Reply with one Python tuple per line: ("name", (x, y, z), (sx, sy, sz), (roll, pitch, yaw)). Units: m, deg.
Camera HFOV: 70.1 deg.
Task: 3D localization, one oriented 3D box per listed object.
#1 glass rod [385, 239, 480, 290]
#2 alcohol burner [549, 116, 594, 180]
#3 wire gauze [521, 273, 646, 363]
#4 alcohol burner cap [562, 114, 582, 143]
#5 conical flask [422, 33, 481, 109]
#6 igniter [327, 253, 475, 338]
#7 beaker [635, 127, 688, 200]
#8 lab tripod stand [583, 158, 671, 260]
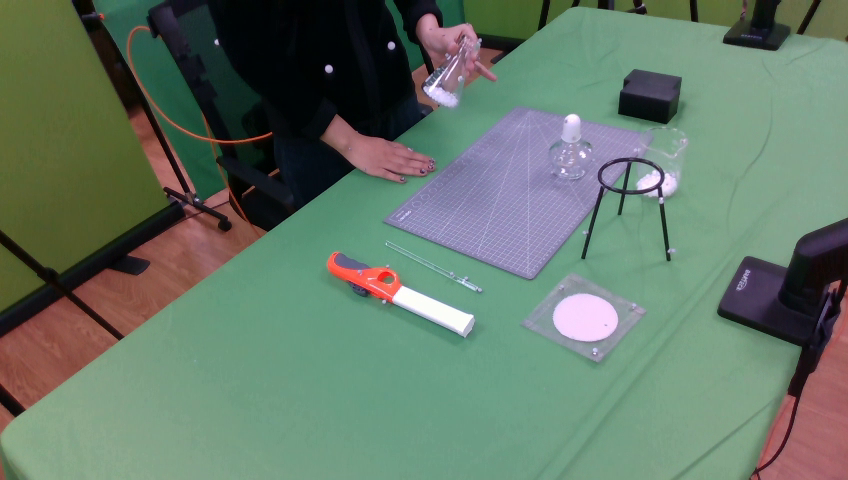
("glass rod", (0.009, 0.037, 0.950), (0.198, 0.008, 0.008), (26, 52, 35))
("alcohol burner", (0.258, -0.166, 1.055), (0.078, 0.120, 0.077), (-6, 42, 6))
("wire gauze", (0.219, 0.105, 0.830), (0.120, 0.011, 0.125), (28, 54, 37))
("alcohol burner cap", (0.254, -0.192, 1.030), (0.034, 0.048, 0.033), (-4, 50, 6))
("conical flask", (0.053, -0.299, 1.060), (0.075, 0.122, 0.075), (27, 23, -12))
("igniter", (-0.045, 0.077, 0.898), (0.274, 0.025, 0.057), (22, 60, 32))
("beaker", (0.388, -0.122, 0.994), (0.074, 0.101, 0.083), (-8, 41, 2))
("lab tripod stand", (0.300, -0.046, 0.895), (0.148, 0.132, 0.147), (-7, 38, 6))
